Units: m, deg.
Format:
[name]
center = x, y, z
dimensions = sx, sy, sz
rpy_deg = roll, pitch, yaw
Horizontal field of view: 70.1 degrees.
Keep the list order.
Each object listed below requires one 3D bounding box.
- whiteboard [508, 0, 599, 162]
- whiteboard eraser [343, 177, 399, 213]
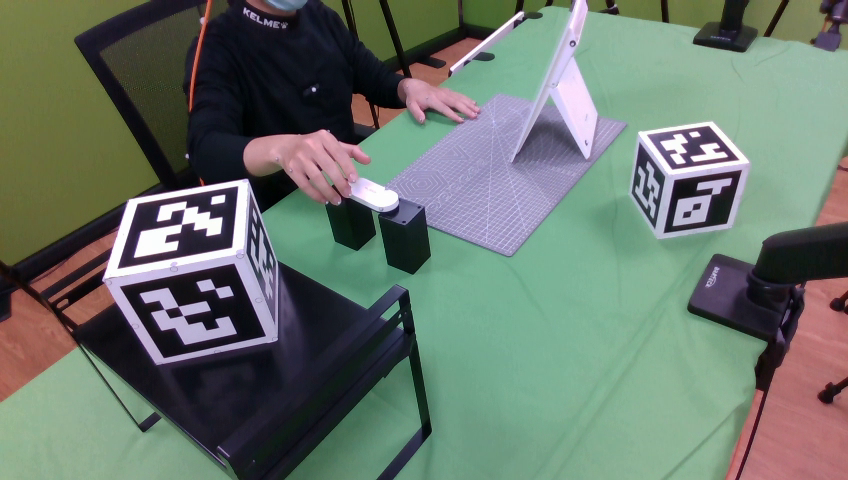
[whiteboard]
center = 0.285, -0.289, 1.090
dimensions = 0.144, 0.305, 0.217
rpy_deg = 22, 45, 3
[whiteboard eraser]
center = -0.081, -0.069, 0.909
dimensions = 0.100, 0.019, 0.041
rpy_deg = 26, 51, 33
